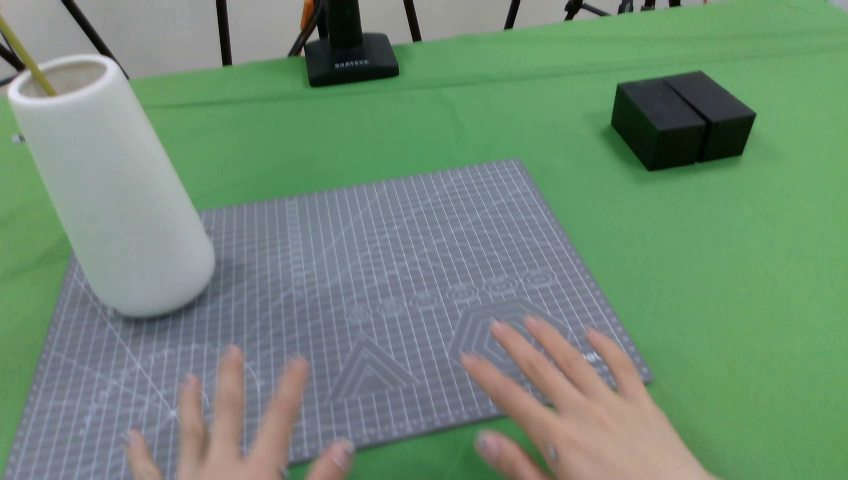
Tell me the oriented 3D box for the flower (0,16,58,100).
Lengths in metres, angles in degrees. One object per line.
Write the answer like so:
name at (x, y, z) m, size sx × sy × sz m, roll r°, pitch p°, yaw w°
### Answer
flower at (-0.251, -0.096, 0.413) m, size 0.044 × 0.365 × 0.038 m, roll -38°, pitch 36°, yaw -25°

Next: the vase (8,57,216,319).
vase at (-0.230, -0.032, 0.464) m, size 0.098 × 0.202 × 0.097 m, roll -1°, pitch 41°, yaw 2°
